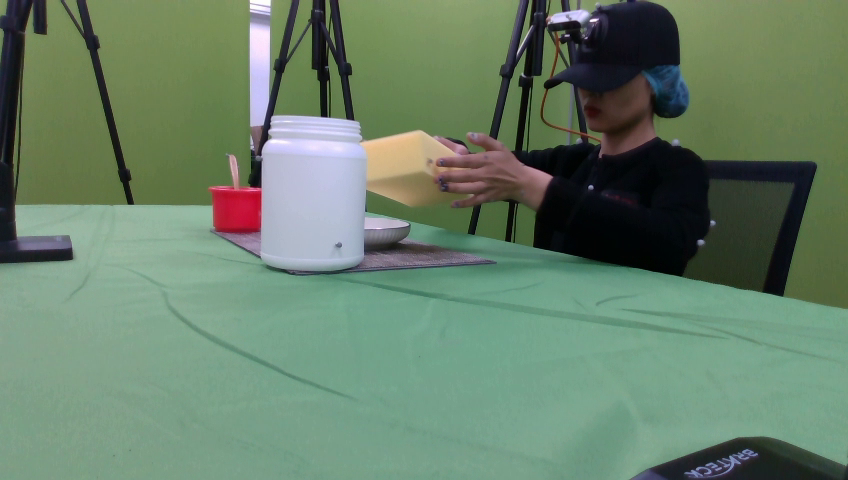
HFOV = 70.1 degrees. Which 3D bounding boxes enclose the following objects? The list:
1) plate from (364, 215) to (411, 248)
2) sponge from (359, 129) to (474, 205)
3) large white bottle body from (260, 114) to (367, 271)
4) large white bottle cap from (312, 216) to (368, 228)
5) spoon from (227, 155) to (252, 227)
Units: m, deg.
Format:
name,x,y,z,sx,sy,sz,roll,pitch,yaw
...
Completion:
name,x,y,z,sx,sy,sz,roll,pitch,yaw
plate,-0.125,-0.014,0.979,0.209,0.038,0.209,2,7,0
sponge,-0.012,-0.106,0.941,0.118,0.061,0.208,-7,-8,23
large white bottle body,-0.139,-0.061,0.763,0.131,0.184,0.130,3,8,0
large white bottle cap,-0.171,-0.038,1.234,0.115,0.018,0.115,2,5,0
spoon,-0.343,-0.093,1.108,0.042,0.021,0.193,-1,52,-22
